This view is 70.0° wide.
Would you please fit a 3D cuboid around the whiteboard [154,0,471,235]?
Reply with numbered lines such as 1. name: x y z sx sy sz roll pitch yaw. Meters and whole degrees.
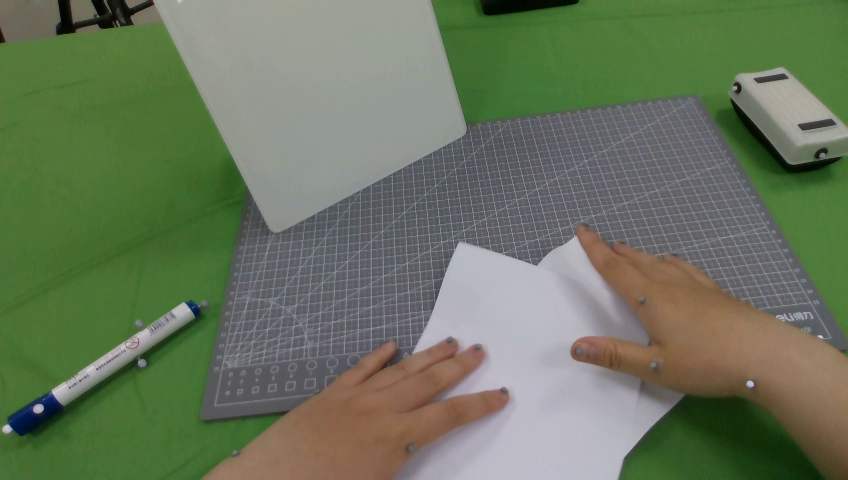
1. whiteboard: -0.119 -0.202 0.543 0.217 0.308 0.142 -30 31 -17

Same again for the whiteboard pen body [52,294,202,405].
1. whiteboard pen body: -0.230 0.086 0.453 0.140 0.017 0.017 -38 54 -25

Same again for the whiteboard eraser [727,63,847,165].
1. whiteboard eraser: 0.325 -0.113 0.544 0.055 0.042 0.111 -12 49 -1

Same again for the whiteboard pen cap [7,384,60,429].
1. whiteboard pen cap: -0.274 0.116 0.429 0.033 0.018 0.018 -38 54 -25
